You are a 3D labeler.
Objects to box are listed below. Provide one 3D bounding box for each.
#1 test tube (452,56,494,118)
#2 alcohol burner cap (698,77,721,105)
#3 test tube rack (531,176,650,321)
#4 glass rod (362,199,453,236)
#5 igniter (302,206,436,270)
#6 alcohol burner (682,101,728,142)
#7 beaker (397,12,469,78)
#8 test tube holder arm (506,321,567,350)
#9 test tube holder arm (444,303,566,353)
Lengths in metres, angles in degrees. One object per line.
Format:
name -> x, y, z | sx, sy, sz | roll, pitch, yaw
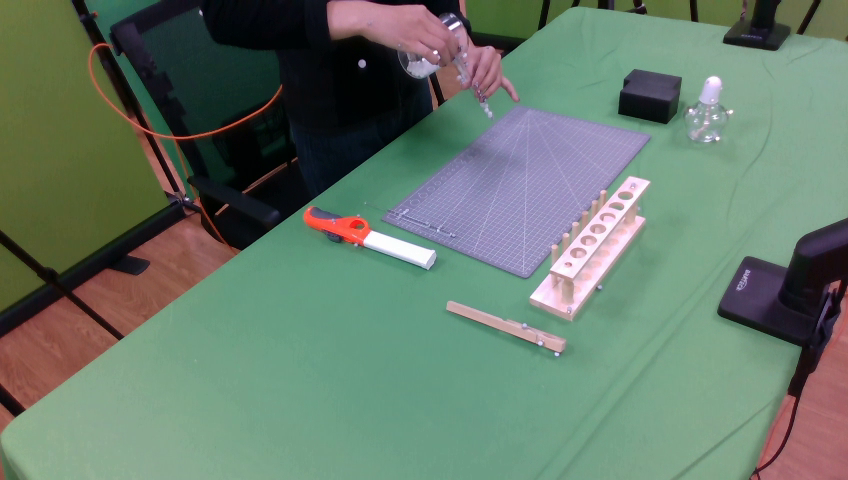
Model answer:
test tube -> 0.090, -0.270, 1.082 | 0.017, 0.151, 0.017 | -18, 50, 24
alcohol burner cap -> 0.509, -0.266, 1.072 | 0.034, 0.048, 0.033 | -4, 48, 5
test tube rack -> 0.246, 0.002, 0.884 | 0.066, 0.085, 0.243 | 22, 49, 32
glass rod -> -0.031, -0.041, 1.041 | 0.198, 0.008, 0.008 | 22, 50, 31
igniter -> -0.101, -0.007, 1.004 | 0.274, 0.025, 0.057 | 20, 58, 29
alcohol burner -> 0.513, -0.239, 1.097 | 0.078, 0.119, 0.077 | -4, 40, 4
beaker -> 0.013, -0.313, 0.985 | 0.100, 0.084, 0.073 | -37, 44, -27
test tube holder arm -> 0.148, 0.128, 0.808 | 0.087, 0.015, 0.010 | 16, 10, 28
test tube holder arm -> 0.106, 0.117, 0.823 | 0.177, 0.015, 0.013 | 16, 10, 27
